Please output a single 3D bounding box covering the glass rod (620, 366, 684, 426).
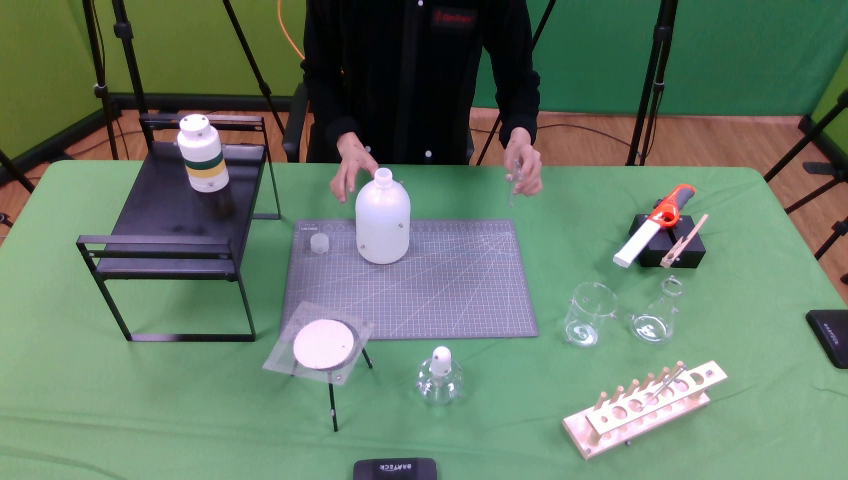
[{"bbox_3d":[0.323,0.227,0.866,0.008,0.200,0.008,5,51,-7],"label":"glass rod"}]

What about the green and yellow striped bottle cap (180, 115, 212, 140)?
[{"bbox_3d":[-0.358,-0.177,0.951,0.045,0.020,0.045,2,45,-2],"label":"green and yellow striped bottle cap"}]

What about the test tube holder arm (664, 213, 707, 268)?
[{"bbox_3d":[0.507,-0.001,1.171,0.013,0.015,0.178,33,53,26],"label":"test tube holder arm"}]

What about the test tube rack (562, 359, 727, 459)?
[{"bbox_3d":[0.341,0.247,0.940,0.243,0.085,0.066,-16,49,-18],"label":"test tube rack"}]

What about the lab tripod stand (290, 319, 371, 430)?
[{"bbox_3d":[-0.146,0.193,0.923,0.148,0.132,0.147,1,47,-1],"label":"lab tripod stand"}]

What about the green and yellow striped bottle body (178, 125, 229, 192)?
[{"bbox_3d":[-0.361,-0.142,0.989,0.063,0.120,0.063,2,46,-2],"label":"green and yellow striped bottle body"}]

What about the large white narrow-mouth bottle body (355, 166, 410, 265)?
[{"bbox_3d":[-0.076,-0.051,1.119,0.102,0.195,0.101,2,44,-2],"label":"large white narrow-mouth bottle body"}]

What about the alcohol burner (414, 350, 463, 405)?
[{"bbox_3d":[0.023,0.205,0.939,0.078,0.120,0.077,1,48,-1],"label":"alcohol burner"}]

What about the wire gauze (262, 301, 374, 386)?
[{"bbox_3d":[-0.150,0.148,0.873,0.121,0.011,0.124,14,46,12],"label":"wire gauze"}]

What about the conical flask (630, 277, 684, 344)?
[{"bbox_3d":[0.408,0.117,1.045,0.075,0.122,0.075,2,46,-2],"label":"conical flask"}]

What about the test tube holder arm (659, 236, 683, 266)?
[{"bbox_3d":[0.472,0.020,1.149,0.010,0.015,0.088,34,54,27],"label":"test tube holder arm"}]

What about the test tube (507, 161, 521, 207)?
[{"bbox_3d":[0.158,-0.096,1.074,0.017,0.151,0.017,-1,67,3],"label":"test tube"}]

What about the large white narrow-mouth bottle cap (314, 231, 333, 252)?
[{"bbox_3d":[-0.195,0.003,1.178,0.038,0.024,0.037,2,45,-2],"label":"large white narrow-mouth bottle cap"}]

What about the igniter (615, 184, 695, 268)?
[{"bbox_3d":[0.459,-0.035,1.197,0.057,0.025,0.276,32,55,27],"label":"igniter"}]

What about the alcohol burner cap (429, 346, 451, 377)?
[{"bbox_3d":[0.026,0.180,0.912,0.034,0.048,0.033,1,47,-1],"label":"alcohol burner cap"}]

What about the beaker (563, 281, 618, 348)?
[{"bbox_3d":[0.283,0.129,1.041,0.074,0.101,0.083,11,46,7],"label":"beaker"}]
